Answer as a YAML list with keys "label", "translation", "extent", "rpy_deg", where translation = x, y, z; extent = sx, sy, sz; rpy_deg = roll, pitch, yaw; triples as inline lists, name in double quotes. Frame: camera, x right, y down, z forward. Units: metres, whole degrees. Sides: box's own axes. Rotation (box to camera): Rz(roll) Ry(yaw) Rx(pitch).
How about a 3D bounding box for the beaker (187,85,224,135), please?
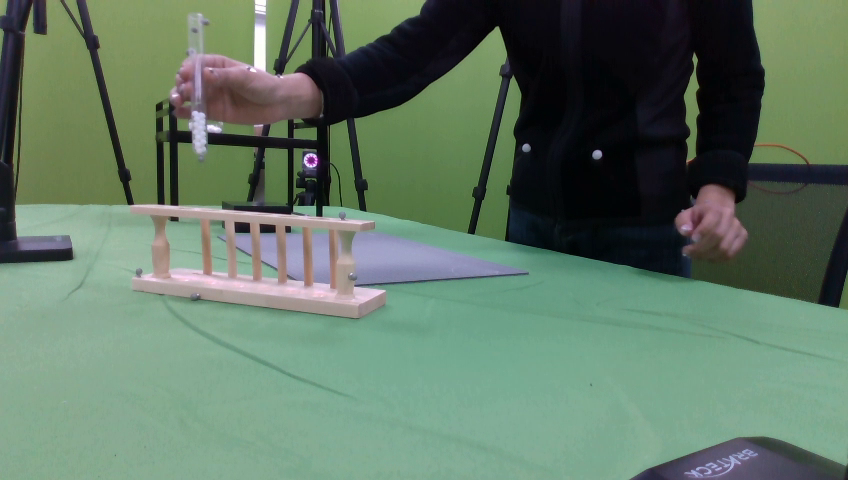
- label: "beaker"
  translation: [-0.466, -0.276, 1.296]
  extent: [0.074, 0.100, 0.083]
  rpy_deg: [-3, 10, -35]

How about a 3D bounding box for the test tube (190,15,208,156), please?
- label: "test tube"
  translation: [-0.240, -0.164, 0.646]
  extent: [0.017, 0.150, 0.017]
  rpy_deg: [-2, -1, 0]

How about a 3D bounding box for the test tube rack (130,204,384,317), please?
- label: "test tube rack"
  translation: [-0.162, 0.013, 0.589]
  extent: [0.242, 0.085, 0.067]
  rpy_deg: [5, 8, 17]
